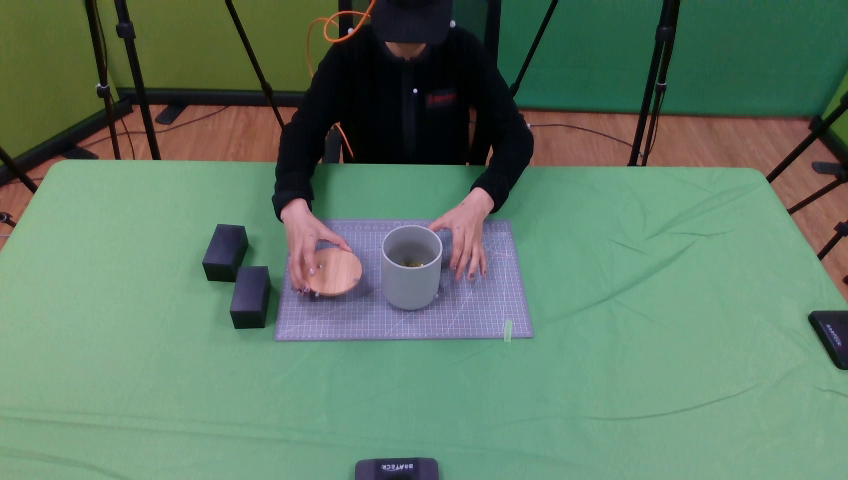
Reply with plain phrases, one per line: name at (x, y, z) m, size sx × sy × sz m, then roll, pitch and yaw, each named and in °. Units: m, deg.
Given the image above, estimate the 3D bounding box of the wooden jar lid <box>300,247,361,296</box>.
wooden jar lid at (-0.166, 0.058, 1.084) m, size 0.108 × 0.021 × 0.107 m, roll 4°, pitch 48°, yaw -4°

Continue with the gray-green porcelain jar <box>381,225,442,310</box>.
gray-green porcelain jar at (-0.023, 0.053, 1.068) m, size 0.106 × 0.127 × 0.105 m, roll 2°, pitch 46°, yaw -2°
